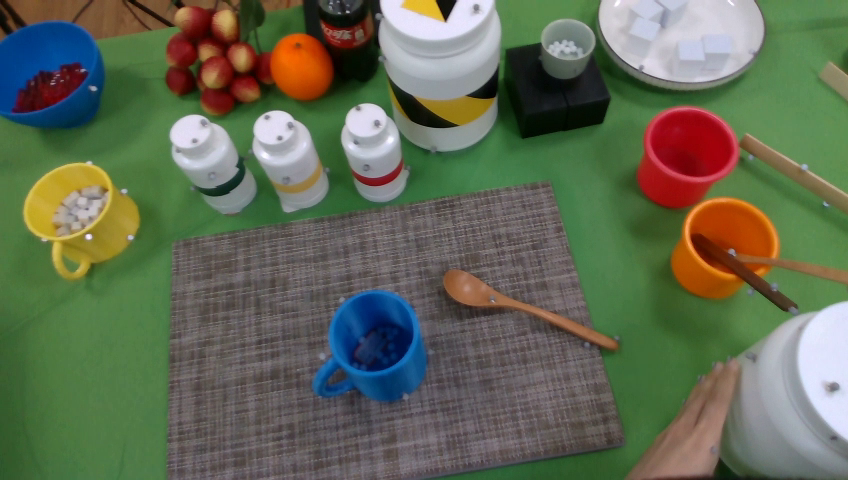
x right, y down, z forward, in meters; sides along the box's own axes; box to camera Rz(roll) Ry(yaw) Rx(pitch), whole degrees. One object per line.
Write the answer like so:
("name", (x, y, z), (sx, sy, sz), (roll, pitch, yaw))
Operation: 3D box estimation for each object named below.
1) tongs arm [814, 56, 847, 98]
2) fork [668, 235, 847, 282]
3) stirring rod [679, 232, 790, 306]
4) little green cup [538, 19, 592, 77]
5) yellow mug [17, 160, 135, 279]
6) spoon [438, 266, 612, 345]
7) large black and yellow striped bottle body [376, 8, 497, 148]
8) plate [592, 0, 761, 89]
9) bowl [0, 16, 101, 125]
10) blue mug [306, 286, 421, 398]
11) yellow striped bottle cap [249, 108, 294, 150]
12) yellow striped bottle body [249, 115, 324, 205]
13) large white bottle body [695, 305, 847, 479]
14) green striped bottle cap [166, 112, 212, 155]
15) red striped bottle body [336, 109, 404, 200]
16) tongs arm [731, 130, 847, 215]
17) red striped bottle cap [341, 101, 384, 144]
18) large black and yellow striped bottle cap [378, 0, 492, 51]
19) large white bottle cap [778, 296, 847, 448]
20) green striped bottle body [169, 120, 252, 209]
("tongs arm", (0.587, -0.072, 0.679), (0.028, 0.028, 0.384), (-26, 66, -17))
("fork", (0.328, 0.020, 0.584), (0.028, 0.019, 0.205), (-46, 26, -16))
("stirring rod", (0.297, 0.024, 0.592), (0.014, 0.006, 0.175), (-6, 21, -3))
("little green cup", (0.163, -0.224, 0.713), (0.061, 0.039, 0.061), (0, 62, 1))
("yellow mug", (-0.397, -0.019, 0.689), (0.100, 0.064, 0.130), (0, 65, 3))
("spoon", (0.105, 0.072, 0.638), (0.193, 0.022, 0.041), (19, 46, 11))
("large black and yellow striped bottle body", (0.016, -0.205, 0.688), (0.131, 0.185, 0.129), (-1, 65, 3))
("plate", (0.320, -0.275, 0.785), (0.209, 0.038, 0.207), (-1, 65, 3))
("bowl", (-0.475, -0.200, 0.771), (0.151, 0.077, 0.150), (-1, 65, 2))
("blue mug", (-0.060, 0.111, 0.584), (0.116, 0.106, 0.081), (-33, 67, -12))
("yellow striped bottle cap", (-0.160, -0.116, 0.633), (0.044, 0.019, 0.044), (1, 61, -1))
("yellow striped bottle body", (-0.155, -0.094, 0.681), (0.063, 0.121, 0.062), (-1, 64, 3))
("large white bottle body", (0.324, 0.132, 0.512), (0.130, 0.186, 0.129), (-1, 64, 3))
("green striped bottle cap", (-0.247, -0.112, 0.636), (0.044, 0.020, 0.044), (0, 64, 1))
("red striped bottle body", (-0.060, -0.100, 0.678), (0.063, 0.120, 0.062), (-2, 64, 5))
("tongs arm", (0.517, -0.019, 0.655), (0.382, 0.027, 0.050), (40, 69, 18))
("red striped bottle cap", (-0.064, -0.123, 0.631), (0.044, 0.018, 0.044), (1, 63, -1))
("large black and yellow striped bottle cap", (0.011, -0.241, 0.610), (0.115, 0.019, 0.114), (-2, 66, 5))
("large white bottle cap", (0.318, 0.095, 0.436), (0.115, 0.018, 0.114), (-1, 64, 3))
("green striped bottle body", (-0.243, -0.089, 0.683), (0.063, 0.120, 0.062), (-1, 65, 3))
